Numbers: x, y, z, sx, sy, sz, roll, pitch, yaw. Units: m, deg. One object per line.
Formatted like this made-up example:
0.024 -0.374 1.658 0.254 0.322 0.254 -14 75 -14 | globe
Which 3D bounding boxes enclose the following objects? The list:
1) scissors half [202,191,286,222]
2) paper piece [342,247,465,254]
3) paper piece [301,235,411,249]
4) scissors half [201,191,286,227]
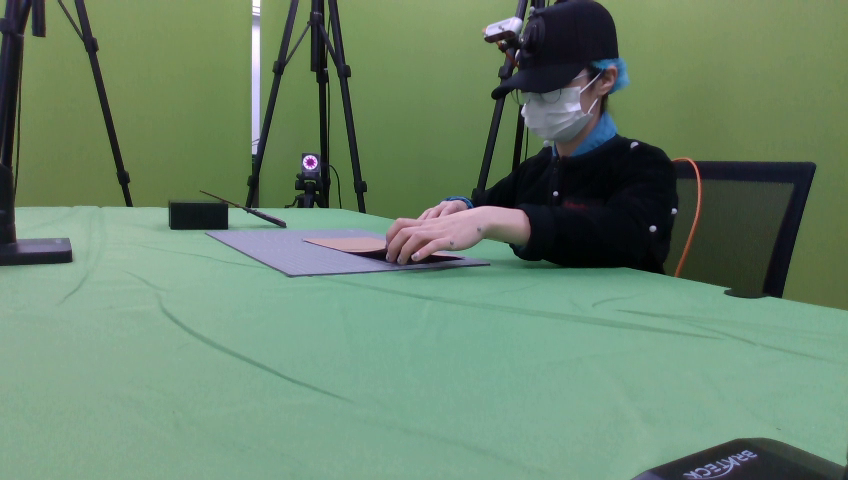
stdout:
-0.364 -0.068 1.225 0.176 0.013 0.040 21 8 -27 | scissors half
-0.032 0.015 0.906 0.137 0.008 0.137 -1 2 -38 | paper piece
-0.114 0.001 1.009 0.136 0.004 0.135 -4 9 -38 | paper piece
-0.359 -0.063 1.206 0.175 0.013 0.040 22 2 -10 | scissors half
